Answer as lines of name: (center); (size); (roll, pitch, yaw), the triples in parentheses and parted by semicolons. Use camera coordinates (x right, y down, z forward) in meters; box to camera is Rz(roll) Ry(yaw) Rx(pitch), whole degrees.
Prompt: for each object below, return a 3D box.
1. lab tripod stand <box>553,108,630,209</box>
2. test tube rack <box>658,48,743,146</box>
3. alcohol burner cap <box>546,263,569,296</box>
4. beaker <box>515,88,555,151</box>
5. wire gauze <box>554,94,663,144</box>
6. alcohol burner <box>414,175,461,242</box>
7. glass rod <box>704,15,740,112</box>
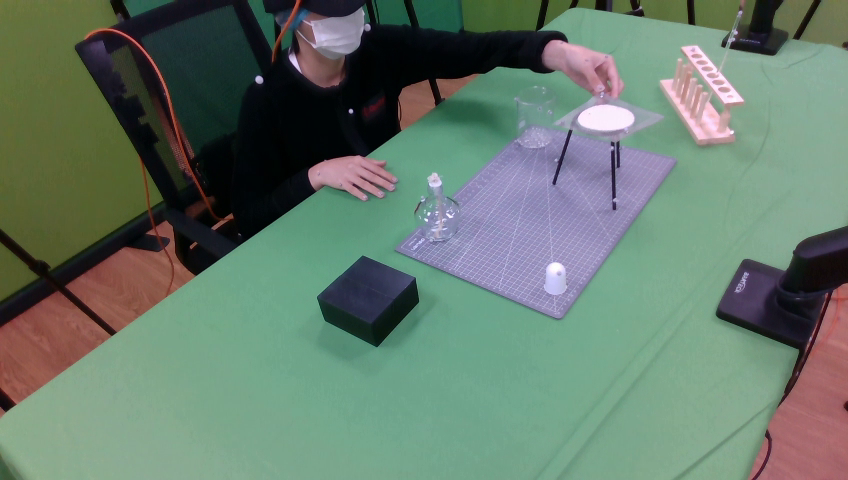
lab tripod stand: (0.292, -0.144, 1.010); (0.148, 0.132, 0.147); (-5, 38, 4)
test tube rack: (0.532, -0.284, 1.180); (0.067, 0.085, 0.241); (-5, 40, 4)
alcohol burner cap: (0.191, 0.053, 0.862); (0.034, 0.048, 0.033); (-5, 40, 4)
beaker: (0.213, -0.230, 1.152); (0.073, 0.101, 0.084); (20, 46, 29)
wire gauze: (0.293, -0.193, 0.963); (0.125, 0.011, 0.120); (-31, 44, -27)
alcohol burner: (0.021, -0.055, 0.963); (0.078, 0.119, 0.077); (-3, 41, 4)
glass rod: (0.549, -0.319, 1.117); (0.008, 0.200, 0.008); (-2, 47, 3)
